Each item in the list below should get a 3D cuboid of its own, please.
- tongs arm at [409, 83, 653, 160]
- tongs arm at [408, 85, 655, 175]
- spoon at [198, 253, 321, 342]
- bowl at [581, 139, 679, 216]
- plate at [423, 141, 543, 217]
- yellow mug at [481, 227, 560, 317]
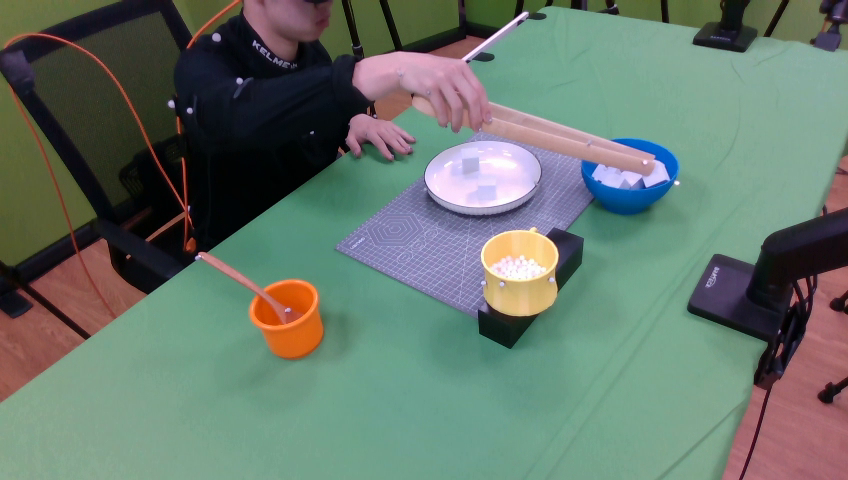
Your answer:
[{"bbox_3d":[0.166,-0.169,0.912,0.389,0.028,0.028,15,40,-8],"label":"tongs arm"},{"bbox_3d":[0.166,-0.161,0.901,0.387,0.026,0.050,11,37,-14],"label":"tongs arm"},{"bbox_3d":[-0.220,0.075,0.814,0.021,0.194,0.041,-37,18,39],"label":"spoon"},{"bbox_3d":[0.331,-0.093,0.987,0.151,0.077,0.150,-4,40,3],"label":"bowl"},{"bbox_3d":[0.103,-0.104,1.059,0.207,0.039,0.206,-4,40,4],"label":"plate"},{"bbox_3d":[0.131,0.032,0.801,0.099,0.064,0.131,11,43,20],"label":"yellow mug"}]
